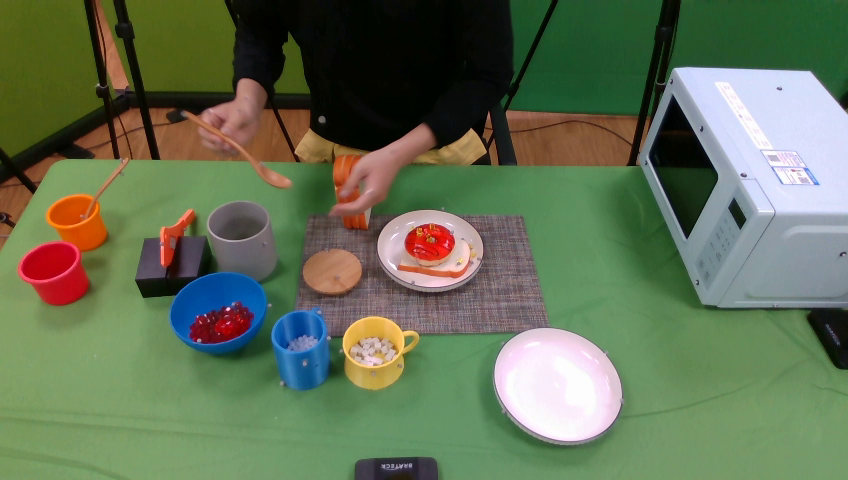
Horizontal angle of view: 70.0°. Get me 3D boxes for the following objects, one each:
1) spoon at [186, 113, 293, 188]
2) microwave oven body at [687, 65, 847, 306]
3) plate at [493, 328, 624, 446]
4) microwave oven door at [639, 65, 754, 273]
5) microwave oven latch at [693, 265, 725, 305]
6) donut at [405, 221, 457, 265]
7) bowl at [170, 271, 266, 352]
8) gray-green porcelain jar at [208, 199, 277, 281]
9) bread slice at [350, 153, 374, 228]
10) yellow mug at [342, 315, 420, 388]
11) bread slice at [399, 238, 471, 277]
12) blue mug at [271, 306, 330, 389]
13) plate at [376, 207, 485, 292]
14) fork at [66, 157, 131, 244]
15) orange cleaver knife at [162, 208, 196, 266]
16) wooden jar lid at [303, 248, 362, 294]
[{"bbox_3d":[-0.295,-0.143,0.975,0.194,0.021,0.041,40,25,-19],"label":"spoon"},{"bbox_3d":[0.669,-0.111,1.176,0.326,0.261,0.439,0,46,-3],"label":"microwave oven body"},{"bbox_3d":[0.213,0.236,0.974,0.208,0.039,0.206,2,46,-2],"label":"plate"},{"bbox_3d":[0.522,-0.147,1.192,0.039,0.245,0.353,0,47,-3],"label":"microwave oven door"},{"bbox_3d":[0.522,0.081,1.115,0.030,0.029,0.078,2,46,-1],"label":"microwave oven latch"},{"bbox_3d":[0.013,0.004,1.137,0.099,0.048,0.098,0,45,1],"label":"donut"},{"bbox_3d":[-0.333,0.132,1.006,0.151,0.077,0.150,2,46,-2],"label":"bowl"},{"bbox_3d":[-0.323,0.007,1.092,0.106,0.127,0.105,2,46,-2],"label":"gray-green porcelain jar"},{"bbox_3d":[-0.123,-0.104,1.207,0.018,0.135,0.106,-3,48,7],"label":"bread slice"},{"bbox_3d":[-0.068,0.177,0.990,0.131,0.064,0.099,-15,50,-19],"label":"yellow mug"},{"bbox_3d":[0.025,0.025,1.161,0.131,0.019,0.104,7,47,8],"label":"bread slice"},{"bbox_3d":[-0.188,0.163,0.969,0.082,0.106,0.116,15,47,10],"label":"blue mug"},{"bbox_3d":[0.012,0.020,1.159,0.209,0.038,0.208,2,47,-2],"label":"plate"},{"bbox_3d":[-0.608,-0.074,1.133,0.207,0.019,0.028,-52,52,10],"label":"fork"},{"bbox_3d":[-0.454,-0.010,1.129,0.012,0.077,0.210,-1,17,-6],"label":"orange cleaver knife"},{"bbox_3d":[-0.169,0.060,1.121,0.108,0.021,0.107,2,45,-2],"label":"wooden jar lid"}]
